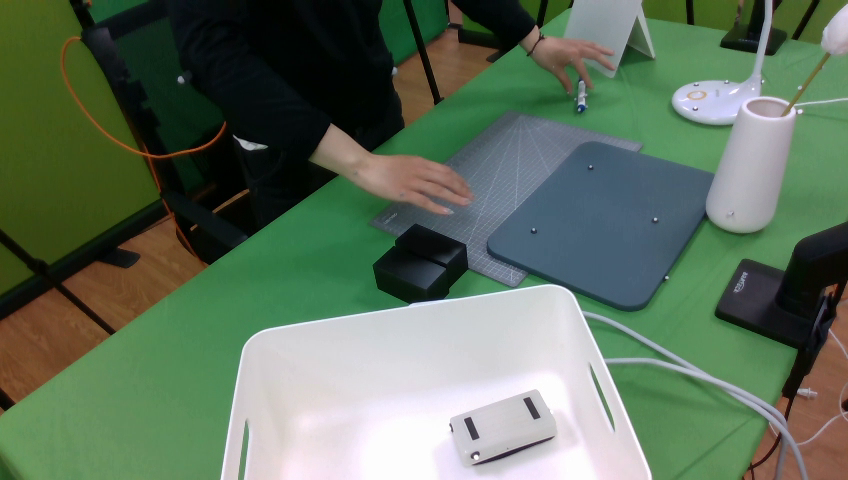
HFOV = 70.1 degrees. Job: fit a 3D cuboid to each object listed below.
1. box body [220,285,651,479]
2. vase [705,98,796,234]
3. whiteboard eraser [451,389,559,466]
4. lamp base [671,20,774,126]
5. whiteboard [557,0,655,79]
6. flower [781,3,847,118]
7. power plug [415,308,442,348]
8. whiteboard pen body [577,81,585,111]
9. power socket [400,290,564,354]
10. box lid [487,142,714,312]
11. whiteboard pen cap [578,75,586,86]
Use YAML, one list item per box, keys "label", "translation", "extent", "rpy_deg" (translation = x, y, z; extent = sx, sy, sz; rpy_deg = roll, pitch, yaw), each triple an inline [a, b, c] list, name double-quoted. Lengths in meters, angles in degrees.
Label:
- label: "box body"
  translation: [0.005, 0.211, 0.616]
  extent: [0.364, 0.161, 0.252]
  rpy_deg: [-9, 40, -2]
- label: "vase"
  translation: [0.480, -0.104, 0.889]
  extent: [0.098, 0.201, 0.097]
  rpy_deg: [-4, 42, 4]
- label: "whiteboard eraser"
  translation: [0.090, 0.213, 0.682]
  extent: [0.113, 0.042, 0.055]
  rpy_deg: [-17, 39, -8]
- label: "lamp base"
  translation: [0.581, -0.332, 1.154]
  extent: [0.179, 0.181, 0.160]
  rpy_deg: [2, 42, 7]
- label: "whiteboard"
  translation: [0.462, -0.542, 1.367]
  extent: [0.145, 0.306, 0.215]
  rpy_deg: [-3, 36, -25]
- label: "flower"
  translation: [0.480, -0.157, 0.824]
  extent: [0.044, 0.362, 0.038]
  rpy_deg: [-9, 56, -9]
- label: "power plug"
  translation: [0.004, 0.121, 0.786]
  extent: [0.035, 0.053, 0.072]
  rpy_deg: [1, 46, 8]
- label: "whiteboard pen body"
  translation: [0.335, -0.313, 1.292]
  extent: [0.017, 0.017, 0.140]
  rpy_deg: [3, 40, 12]
- label: "power socket"
  translation: [0.079, 0.111, 0.823]
  extent: [0.227, 0.033, 0.072]
  rpy_deg: [-6, 41, 1]
- label: "box lid"
  translation: [0.298, -0.041, 0.986]
  extent: [0.261, 0.015, 0.372]
  rpy_deg: [23, 49, 30]
- label: "whiteboard pen cap"
  translation: [0.349, -0.351, 1.334]
  extent: [0.018, 0.018, 0.033]
  rpy_deg: [3, 38, 12]
